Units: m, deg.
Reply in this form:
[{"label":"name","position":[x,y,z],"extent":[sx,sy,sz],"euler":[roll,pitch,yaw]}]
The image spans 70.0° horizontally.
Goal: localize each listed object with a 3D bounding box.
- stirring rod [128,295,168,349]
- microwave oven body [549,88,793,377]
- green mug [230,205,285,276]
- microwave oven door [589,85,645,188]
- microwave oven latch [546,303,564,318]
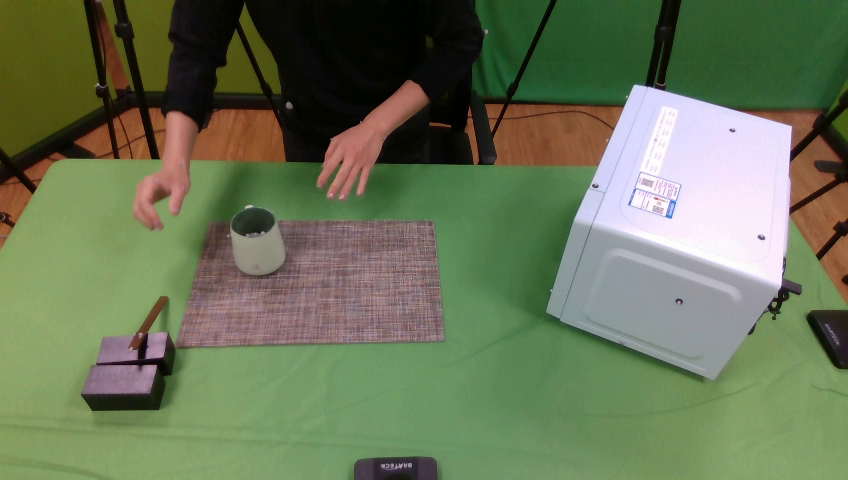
[{"label":"stirring rod","position":[-0.451,0.131,0.996],"extent":[0.014,0.006,0.175],"euler":[9,20,-10]},{"label":"microwave oven body","position":[0.456,-0.028,1.087],"extent":[0.325,0.261,0.440],"euler":[20,47,16]},{"label":"green mug","position":[-0.311,-0.008,1.118],"extent":[0.092,0.105,0.124],"euler":[-14,48,-16]},{"label":"microwave oven door","position":[0.342,-0.107,1.148],"extent":[0.039,0.245,0.354],"euler":[20,48,15]},{"label":"microwave oven latch","position":[0.242,0.102,1.081],"extent":[0.030,0.029,0.079],"euler":[22,48,17]}]
